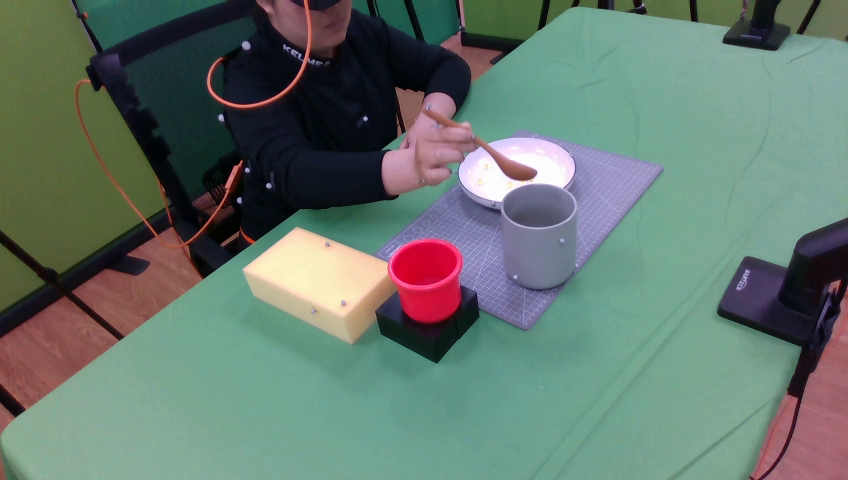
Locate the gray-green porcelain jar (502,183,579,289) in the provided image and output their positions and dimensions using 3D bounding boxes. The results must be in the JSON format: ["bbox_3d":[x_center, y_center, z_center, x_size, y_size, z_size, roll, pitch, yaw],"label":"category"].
[{"bbox_3d":[0.167,-0.001,0.866,0.106,0.127,0.105,-5,40,5],"label":"gray-green porcelain jar"}]

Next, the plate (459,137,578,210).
[{"bbox_3d":[0.166,-0.113,1.068,0.207,0.039,0.206,-5,40,5],"label":"plate"}]

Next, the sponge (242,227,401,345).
[{"bbox_3d":[-0.154,0.063,0.907,0.205,0.061,0.118,19,48,29],"label":"sponge"}]

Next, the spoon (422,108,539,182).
[{"bbox_3d":[0.076,-0.125,0.805,0.041,0.195,0.021,-22,43,56],"label":"spoon"}]
